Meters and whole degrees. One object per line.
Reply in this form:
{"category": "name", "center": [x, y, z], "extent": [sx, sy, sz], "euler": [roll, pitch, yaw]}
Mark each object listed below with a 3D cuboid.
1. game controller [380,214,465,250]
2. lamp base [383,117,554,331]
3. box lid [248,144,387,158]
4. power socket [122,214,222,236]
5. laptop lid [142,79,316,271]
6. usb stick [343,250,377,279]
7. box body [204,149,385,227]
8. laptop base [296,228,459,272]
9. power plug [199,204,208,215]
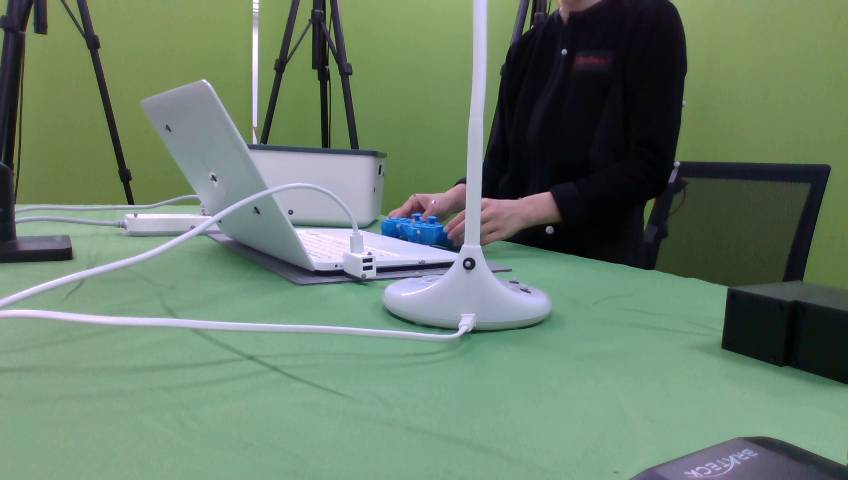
{"category": "game controller", "center": [-0.007, -0.016, 1.032], "extent": [0.097, 0.051, 0.154], "euler": [-4, 9, -32]}
{"category": "lamp base", "center": [0.045, -0.019, 0.547], "extent": [0.161, 0.180, 0.179], "euler": [2, 10, -4]}
{"category": "box lid", "center": [-0.275, -0.197, 1.326], "extent": [0.372, 0.015, 0.263], "euler": [4, 8, 1]}
{"category": "power socket", "center": [-0.399, -0.028, 1.049], "extent": [0.228, 0.032, 0.072], "euler": [-3, 8, -34]}
{"category": "laptop lid", "center": [-0.265, -0.082, 0.775], "extent": [0.013, 0.242, 0.355], "euler": [-37, 28, -25]}
{"category": "usb stick", "center": [-0.076, 0.026, 0.687], "extent": [0.021, 0.027, 0.059], "euler": [-8, 9, -31]}
{"category": "box body", "center": [-0.276, -0.124, 1.334], "extent": [0.364, 0.160, 0.254], "euler": [3, 7, 1]}
{"category": "laptop base", "center": [-0.123, 0.011, 0.889], "extent": [0.237, 0.023, 0.352], "euler": [2, 6, -35]}
{"category": "power plug", "center": [-0.387, -0.055, 1.089], "extent": [0.035, 0.052, 0.072], "euler": [-1, 7, -22]}
